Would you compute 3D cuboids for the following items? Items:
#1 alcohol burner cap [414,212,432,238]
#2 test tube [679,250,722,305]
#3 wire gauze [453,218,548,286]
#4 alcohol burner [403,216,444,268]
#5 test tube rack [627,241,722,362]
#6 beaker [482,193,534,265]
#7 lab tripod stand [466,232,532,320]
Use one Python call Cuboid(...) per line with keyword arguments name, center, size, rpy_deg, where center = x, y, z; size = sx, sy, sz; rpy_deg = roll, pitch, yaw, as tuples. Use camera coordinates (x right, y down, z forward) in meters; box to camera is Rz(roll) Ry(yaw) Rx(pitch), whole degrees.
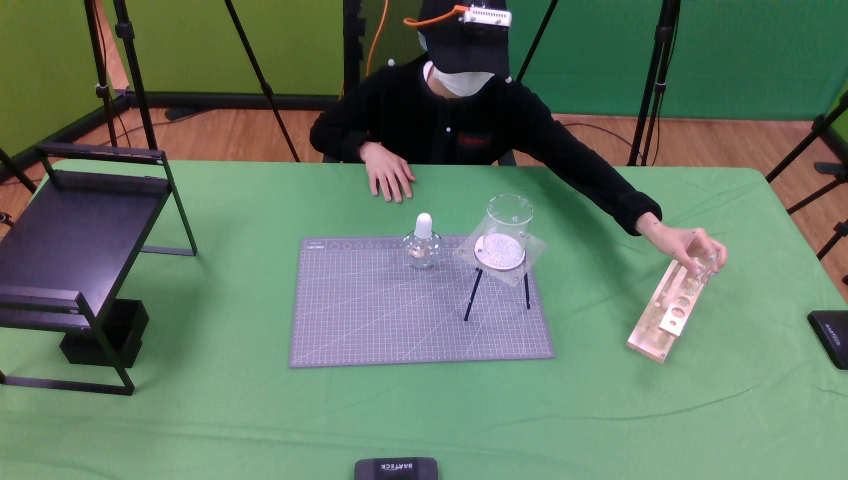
Cuboid(name="alcohol burner cap", center=(0.000, -0.030, 1.107), size=(0.034, 0.048, 0.033), rpy_deg=(4, 41, -3))
Cuboid(name="test tube", center=(0.463, 0.070, 1.022), size=(0.017, 0.151, 0.017), rpy_deg=(4, 48, -4))
Cuboid(name="wire gauze", center=(0.129, 0.014, 1.018), size=(0.124, 0.011, 0.121), rpy_deg=(26, 47, 25))
Cuboid(name="alcohol burner", center=(-0.001, -0.004, 1.132), size=(0.078, 0.120, 0.077), rpy_deg=(1, 47, -1))
Cuboid(name="test tube rack", center=(0.452, 0.098, 1.087), size=(0.066, 0.085, 0.242), rpy_deg=(28, 51, 22))
Cuboid(name="beaker", center=(0.135, -0.016, 0.979), size=(0.073, 0.101, 0.084), rpy_deg=(35, 52, 28))
Cuboid(name="lab tripod stand", center=(0.125, 0.060, 1.065), size=(0.148, 0.132, 0.147), rpy_deg=(1, 45, 0))
